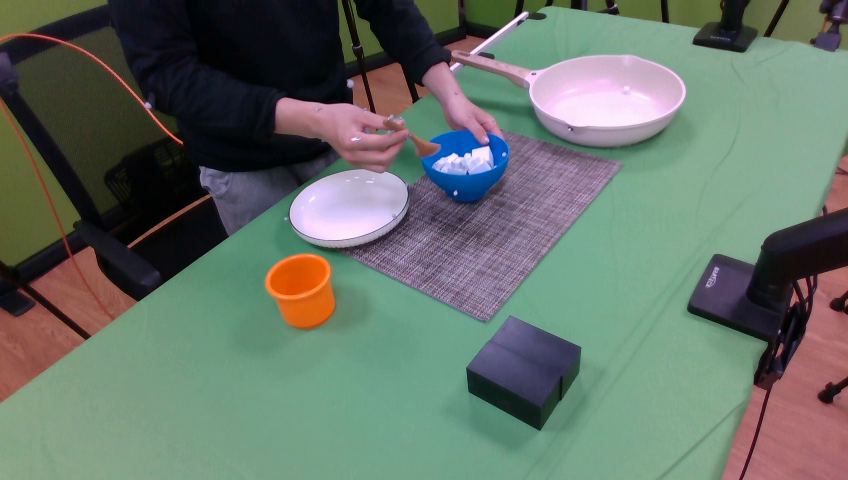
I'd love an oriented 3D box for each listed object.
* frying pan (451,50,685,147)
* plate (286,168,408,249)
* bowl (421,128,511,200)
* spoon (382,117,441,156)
[{"bbox_3d":[0.269,-0.316,1.233,0.485,0.103,0.307,26,49,21],"label":"frying pan"},{"bbox_3d":[-0.127,-0.050,1.028,0.207,0.039,0.206,-5,39,5],"label":"plate"},{"bbox_3d":[0.071,-0.120,1.028,0.151,0.077,0.150,-3,39,3],"label":"bowl"},{"bbox_3d":[-0.019,-0.151,0.879,0.041,0.195,0.021,-21,76,18],"label":"spoon"}]
